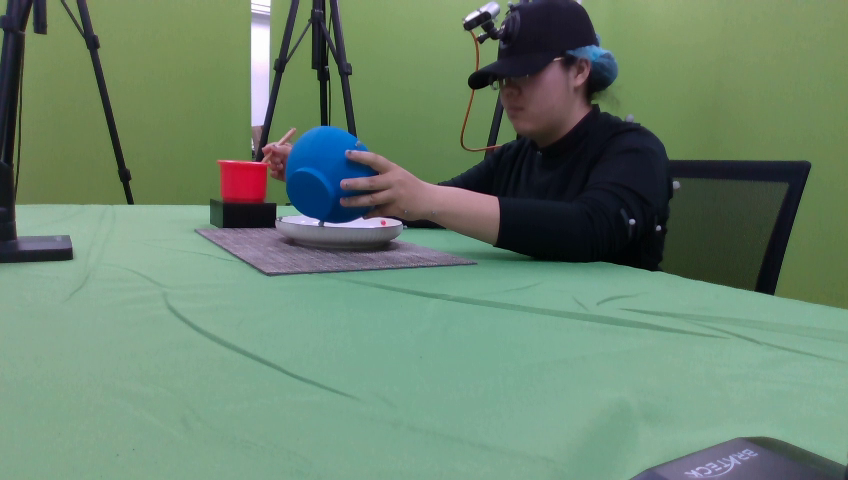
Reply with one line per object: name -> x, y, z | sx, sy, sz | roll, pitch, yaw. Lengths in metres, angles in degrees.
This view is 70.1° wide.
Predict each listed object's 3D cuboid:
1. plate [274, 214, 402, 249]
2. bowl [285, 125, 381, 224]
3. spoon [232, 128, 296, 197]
plate -> -0.140, -0.015, 0.993 | 0.208, 0.039, 0.207 | 3, 8, 0
bowl -> -0.145, -0.080, 0.867 | 0.151, 0.151, 0.077 | 5, 31, 25
spoon -> -0.307, -0.154, 1.181 | 0.041, 0.194, 0.022 | 14, -28, 37
